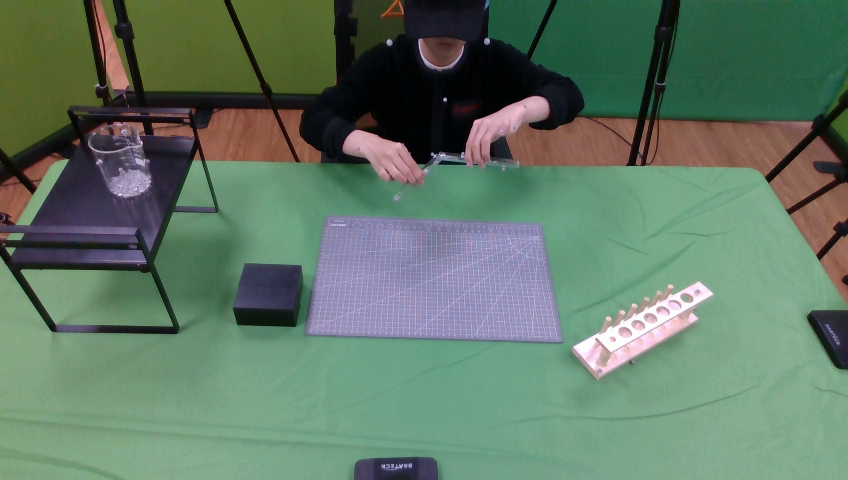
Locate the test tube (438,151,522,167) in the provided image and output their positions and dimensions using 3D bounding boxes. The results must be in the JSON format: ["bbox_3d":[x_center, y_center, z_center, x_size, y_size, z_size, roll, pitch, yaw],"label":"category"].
[{"bbox_3d":[0.099,-0.144,1.076,0.150,0.017,0.017,7,46,12],"label":"test tube"}]

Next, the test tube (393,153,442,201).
[{"bbox_3d":[-0.015,-0.116,1.142,0.017,0.150,0.017,23,48,-28],"label":"test tube"}]

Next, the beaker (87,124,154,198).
[{"bbox_3d":[-0.482,-0.124,0.978,0.084,0.101,0.073,9,46,4],"label":"beaker"}]

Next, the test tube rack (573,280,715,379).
[{"bbox_3d":[0.378,0.140,1.038,0.242,0.085,0.066,-22,51,-23],"label":"test tube rack"}]
